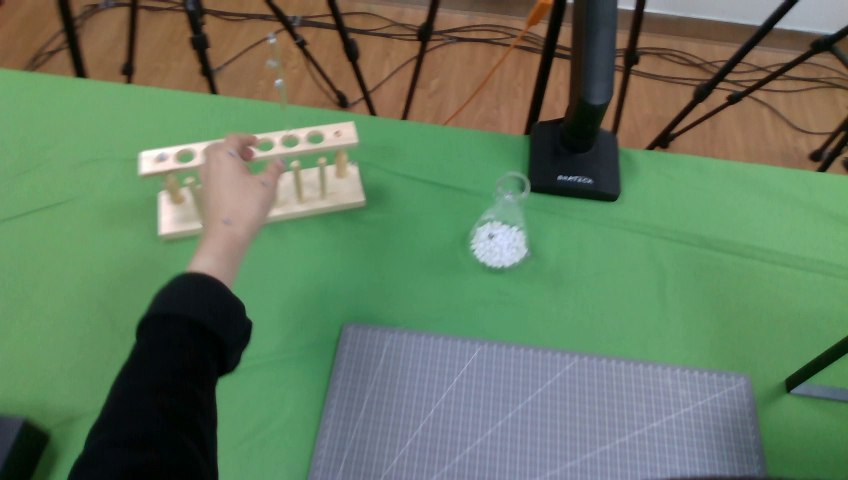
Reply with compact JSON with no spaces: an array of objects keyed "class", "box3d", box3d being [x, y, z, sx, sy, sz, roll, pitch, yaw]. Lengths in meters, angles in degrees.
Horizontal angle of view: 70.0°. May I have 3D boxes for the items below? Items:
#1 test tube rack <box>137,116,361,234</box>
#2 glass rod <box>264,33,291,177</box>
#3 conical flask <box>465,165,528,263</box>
[{"class":"test tube rack","box3d":[-0.202,-0.078,0.724,0.243,0.086,0.066,-11,58,-10]},{"class":"glass rod","box3d":[-0.164,-0.143,0.689,0.008,0.201,0.008,1,49,-1]},{"class":"conical flask","box3d":[0.089,-0.033,0.691,0.075,0.123,0.074,1,57,-2]}]
